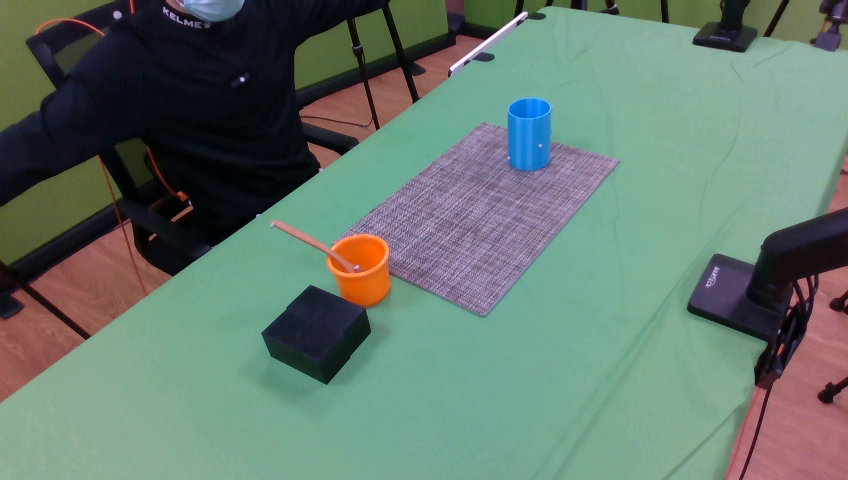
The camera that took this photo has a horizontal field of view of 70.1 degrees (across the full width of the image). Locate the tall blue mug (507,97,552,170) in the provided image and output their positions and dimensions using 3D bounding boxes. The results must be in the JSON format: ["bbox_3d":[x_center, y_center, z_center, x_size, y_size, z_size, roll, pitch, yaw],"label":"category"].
[{"bbox_3d":[0.179,-0.198,1.101,0.078,0.108,0.106,-36,49,-28],"label":"tall blue mug"}]

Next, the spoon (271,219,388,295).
[{"bbox_3d":[-0.133,0.022,0.865,0.021,0.195,0.041,-35,27,40],"label":"spoon"}]
